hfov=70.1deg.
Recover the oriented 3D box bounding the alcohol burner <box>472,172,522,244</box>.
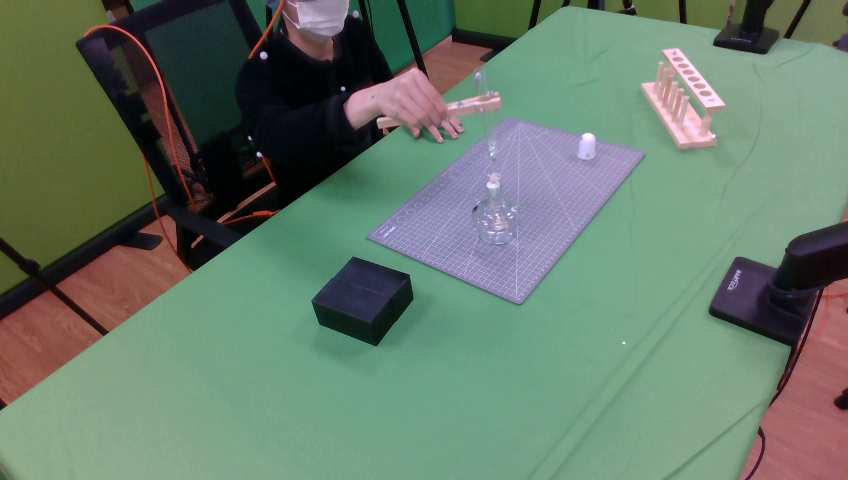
[{"bbox_3d":[0.112,-0.053,0.942,0.078,0.119,0.077,-6,40,5],"label":"alcohol burner"}]

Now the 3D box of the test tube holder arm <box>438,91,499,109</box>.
[{"bbox_3d":[0.064,-0.193,0.859,0.088,0.015,0.010,-15,40,1],"label":"test tube holder arm"}]

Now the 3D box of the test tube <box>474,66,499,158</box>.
[{"bbox_3d":[0.092,-0.180,0.868,0.017,0.151,0.017,-9,44,9],"label":"test tube"}]

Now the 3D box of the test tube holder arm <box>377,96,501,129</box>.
[{"bbox_3d":[0.021,-0.181,0.858,0.178,0.015,0.013,-10,40,7],"label":"test tube holder arm"}]

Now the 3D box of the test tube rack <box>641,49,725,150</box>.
[{"bbox_3d":[0.495,-0.279,1.175,0.067,0.085,0.241,-5,41,3],"label":"test tube rack"}]

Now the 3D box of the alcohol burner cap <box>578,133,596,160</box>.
[{"bbox_3d":[0.301,-0.174,1.111,0.034,0.048,0.033,-4,41,4],"label":"alcohol burner cap"}]
